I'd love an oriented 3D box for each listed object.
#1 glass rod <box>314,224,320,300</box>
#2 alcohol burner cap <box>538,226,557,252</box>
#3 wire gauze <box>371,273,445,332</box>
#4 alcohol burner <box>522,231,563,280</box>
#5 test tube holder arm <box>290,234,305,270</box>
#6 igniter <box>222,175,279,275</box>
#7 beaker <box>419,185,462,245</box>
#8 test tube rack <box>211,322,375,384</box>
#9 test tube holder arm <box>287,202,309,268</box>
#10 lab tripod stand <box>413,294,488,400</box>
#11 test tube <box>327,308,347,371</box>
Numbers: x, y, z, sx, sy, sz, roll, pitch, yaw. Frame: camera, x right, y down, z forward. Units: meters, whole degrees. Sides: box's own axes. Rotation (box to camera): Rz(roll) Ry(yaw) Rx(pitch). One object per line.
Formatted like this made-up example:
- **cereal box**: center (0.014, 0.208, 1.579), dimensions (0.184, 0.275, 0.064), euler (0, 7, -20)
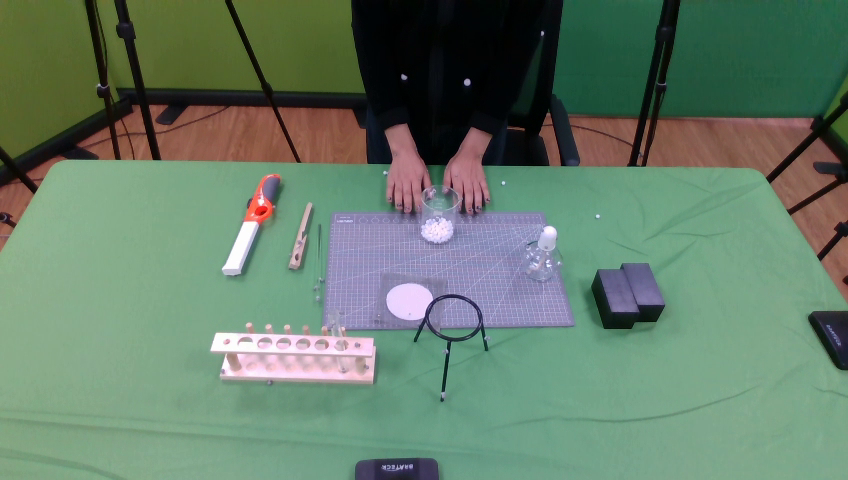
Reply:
- **glass rod**: center (-0.204, 0.038, 1.156), dimensions (0.008, 0.008, 0.198), euler (-2, 44, -6)
- **alcohol burner cap**: center (0.226, -0.004, 1.104), dimensions (0.034, 0.048, 0.033), euler (-1, 50, 1)
- **wire gauze**: center (-0.028, 0.108, 1.100), dimensions (0.125, 0.011, 0.121), euler (7, 45, 4)
- **alcohol burner**: center (0.224, 0.020, 1.131), dimensions (0.078, 0.119, 0.077), euler (4, 46, -4)
- **test tube holder arm**: center (-0.243, 0.021, 1.164), dimensions (0.010, 0.015, 0.087), euler (29, 39, -25)
- **igniter**: center (-0.341, -0.039, 1.206), dimensions (0.057, 0.025, 0.275), euler (-1, 45, 9)
- **beaker**: center (0.029, -0.047, 1.191), dimensions (0.084, 0.101, 0.073), euler (-5, 47, -10)
- **test tube rack**: center (-0.203, 0.176, 0.969), dimensions (0.242, 0.085, 0.066), euler (3, 46, -2)
- **test tube holder arm**: center (-0.247, -0.013, 1.193), dimensions (0.013, 0.015, 0.177), euler (29, 39, -26)
- **lab tripod stand**: center (0.044, 0.159, 0.972), dimensions (0.148, 0.132, 0.147), euler (2, 44, -2)
- **test tube**: center (-0.132, 0.155, 0.926), dimensions (0.017, 0.151, 0.017), euler (0, 45, 0)
